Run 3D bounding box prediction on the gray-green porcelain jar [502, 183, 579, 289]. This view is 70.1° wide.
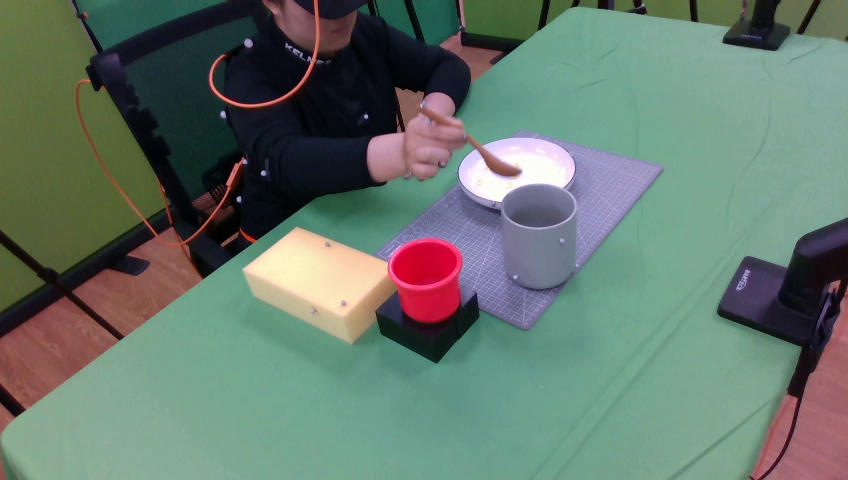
[{"bbox_3d":[0.167,-0.001,0.866,0.106,0.127,0.105,-5,40,5],"label":"gray-green porcelain jar"}]

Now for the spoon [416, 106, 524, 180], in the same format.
[{"bbox_3d":[0.062,-0.125,0.792,0.041,0.195,0.021,-4,60,52],"label":"spoon"}]

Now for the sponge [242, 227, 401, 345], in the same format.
[{"bbox_3d":[-0.154,0.063,0.907,0.205,0.061,0.118,19,48,29],"label":"sponge"}]

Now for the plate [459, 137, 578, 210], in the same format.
[{"bbox_3d":[0.166,-0.113,1.069,0.207,0.039,0.206,-5,40,5],"label":"plate"}]
